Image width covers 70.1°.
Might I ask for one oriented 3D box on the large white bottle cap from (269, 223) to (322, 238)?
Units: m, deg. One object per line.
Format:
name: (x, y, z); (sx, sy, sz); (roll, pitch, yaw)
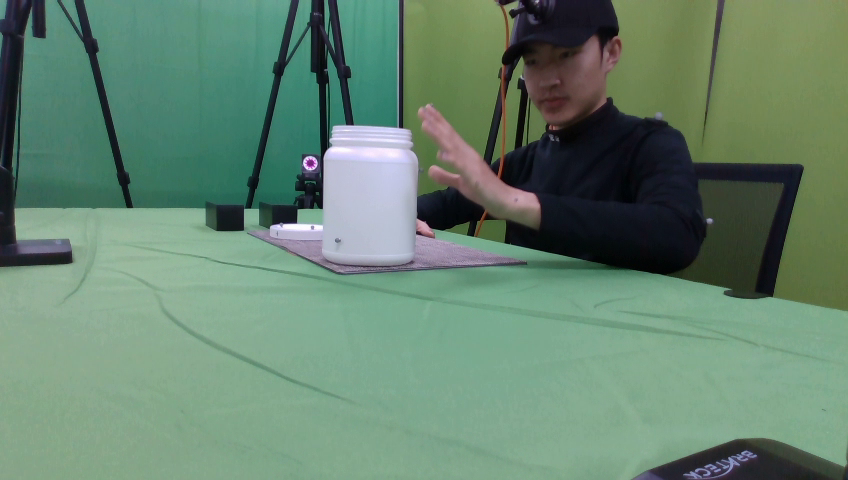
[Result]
large white bottle cap: (-0.218, -0.017, 1.084); (0.115, 0.018, 0.115); (2, 7, 0)

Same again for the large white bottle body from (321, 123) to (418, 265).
large white bottle body: (-0.075, -0.064, 0.836); (0.131, 0.184, 0.130); (2, 8, 0)
